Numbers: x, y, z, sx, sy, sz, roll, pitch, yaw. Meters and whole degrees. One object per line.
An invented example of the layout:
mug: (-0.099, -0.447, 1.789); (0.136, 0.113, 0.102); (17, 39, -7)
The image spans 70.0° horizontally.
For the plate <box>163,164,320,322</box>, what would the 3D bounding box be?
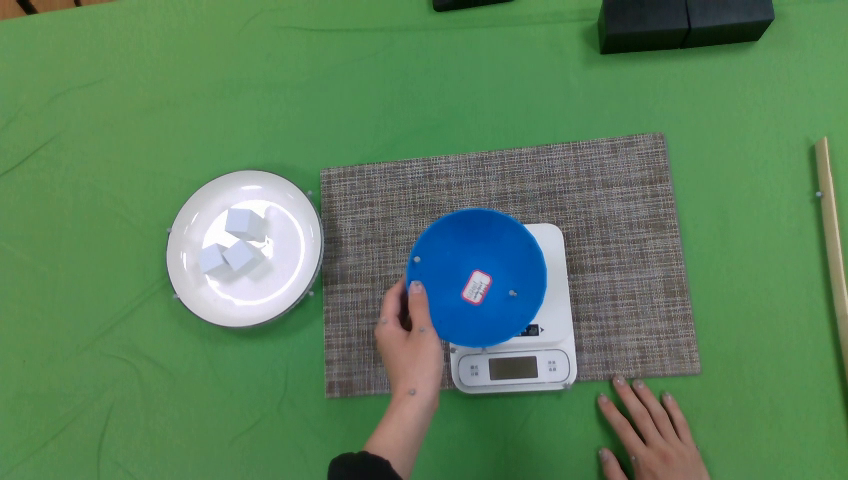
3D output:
plate: (-0.234, 0.004, 0.789); (0.207, 0.039, 0.206); (-1, 78, 6)

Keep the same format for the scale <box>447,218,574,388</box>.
scale: (0.099, 0.075, 0.733); (0.148, 0.032, 0.200); (-5, 78, 6)

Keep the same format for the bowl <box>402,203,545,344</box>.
bowl: (0.056, 0.042, 0.670); (0.151, 0.077, 0.150); (-1, 78, 7)

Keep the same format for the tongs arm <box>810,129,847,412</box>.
tongs arm: (0.483, 0.057, 0.697); (0.028, 0.028, 0.385); (-2, 78, 4)
